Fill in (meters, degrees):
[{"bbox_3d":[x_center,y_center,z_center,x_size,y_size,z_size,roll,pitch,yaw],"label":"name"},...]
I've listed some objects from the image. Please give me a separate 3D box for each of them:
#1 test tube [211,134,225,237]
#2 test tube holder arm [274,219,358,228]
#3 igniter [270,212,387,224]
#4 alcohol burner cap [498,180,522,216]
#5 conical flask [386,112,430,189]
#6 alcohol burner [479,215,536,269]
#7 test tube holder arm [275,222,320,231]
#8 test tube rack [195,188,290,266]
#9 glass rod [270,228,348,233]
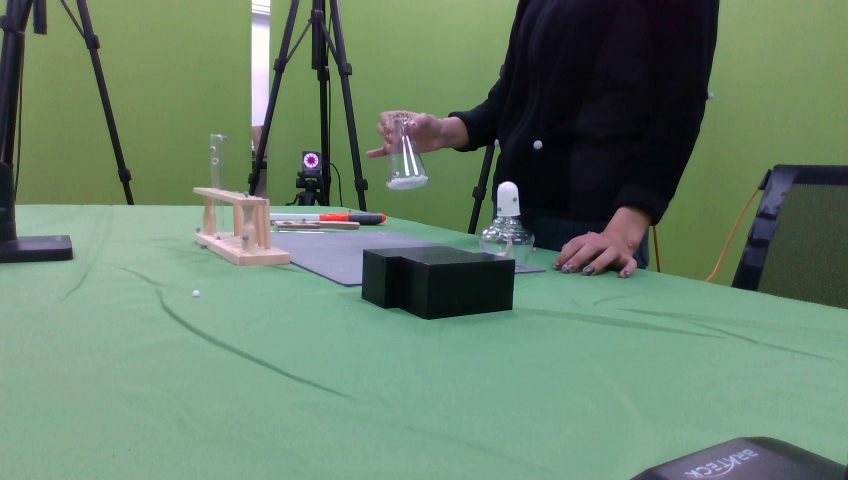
[{"bbox_3d":[-0.300,-0.078,0.881,0.017,0.150,0.017,3,12,0],"label":"test tube"},{"bbox_3d":[-0.206,-0.032,1.177,0.179,0.015,0.013,-4,46,-40],"label":"test tube holder arm"},{"bbox_3d":[-0.213,-0.048,1.278,0.278,0.025,0.057,-1,-2,-25],"label":"igniter"},{"bbox_3d":[0.114,-0.056,0.809,0.034,0.048,0.034,-5,12,1],"label":"alcohol burner cap"},{"bbox_3d":[-0.032,-0.151,1.014,0.075,0.121,0.075,-7,-3,0],"label":"conical flask"},{"bbox_3d":[0.114,-0.021,0.816,0.078,0.119,0.078,2,9,0],"label":"alcohol burner"},{"bbox_3d":[-0.238,-0.026,1.145,0.088,0.015,0.010,-3,45,-39],"label":"test tube holder arm"},{"bbox_3d":[-0.266,-0.025,0.864,0.067,0.085,0.241,-2,9,-33],"label":"test tube rack"},{"bbox_3d":[-0.235,-0.017,1.105,0.201,0.008,0.008,1,7,-26],"label":"glass rod"}]
